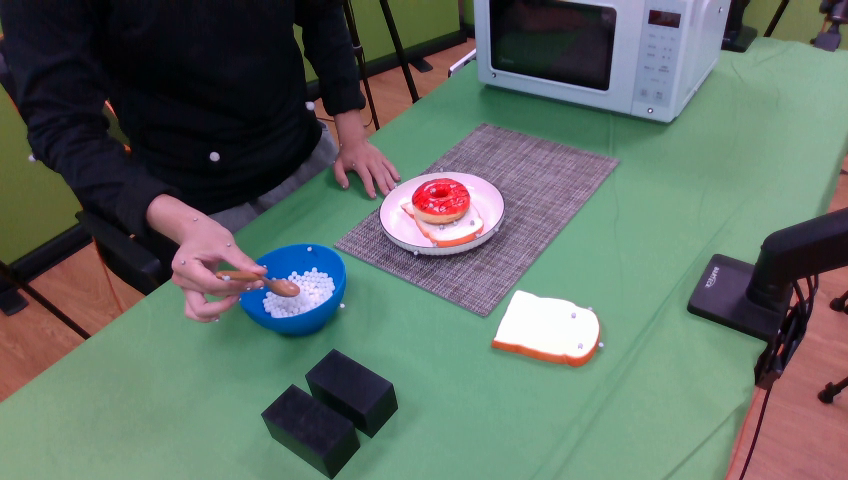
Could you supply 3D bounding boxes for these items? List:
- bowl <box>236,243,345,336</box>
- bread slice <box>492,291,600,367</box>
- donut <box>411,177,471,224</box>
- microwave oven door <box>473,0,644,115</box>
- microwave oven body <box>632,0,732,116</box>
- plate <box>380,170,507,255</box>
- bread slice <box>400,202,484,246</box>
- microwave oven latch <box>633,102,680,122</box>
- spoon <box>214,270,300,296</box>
[{"bbox_3d":[-0.180,0.082,0.855,0.151,0.077,0.150,-4,41,4],"label":"bowl"},{"bbox_3d":[0.169,0.118,0.811,0.131,0.019,0.105,11,44,21],"label":"bread slice"},{"bbox_3d":[0.028,-0.064,0.978,0.099,0.048,0.098,-4,40,4],"label":"donut"},{"bbox_3d":[0.257,-0.396,1.199,0.353,0.245,0.039,21,48,29],"label":"microwave oven door"},{"bbox_3d":[0.377,-0.462,1.267,0.438,0.261,0.327,21,48,30],"label":"microwave oven body"},{"bbox_3d":[0.033,-0.042,0.995,0.207,0.039,0.206,-4,40,4],"label":"plate"},{"bbox_3d":[0.037,-0.037,0.991,0.107,0.018,0.133,-23,42,-17],"label":"bread slice"},{"bbox_3d":[0.444,-0.249,1.157,0.078,0.029,0.030,21,49,30],"label":"microwave oven latch"},{"bbox_3d":[-0.198,0.049,0.726,0.041,0.194,0.021,27,85,14],"label":"spoon"}]
